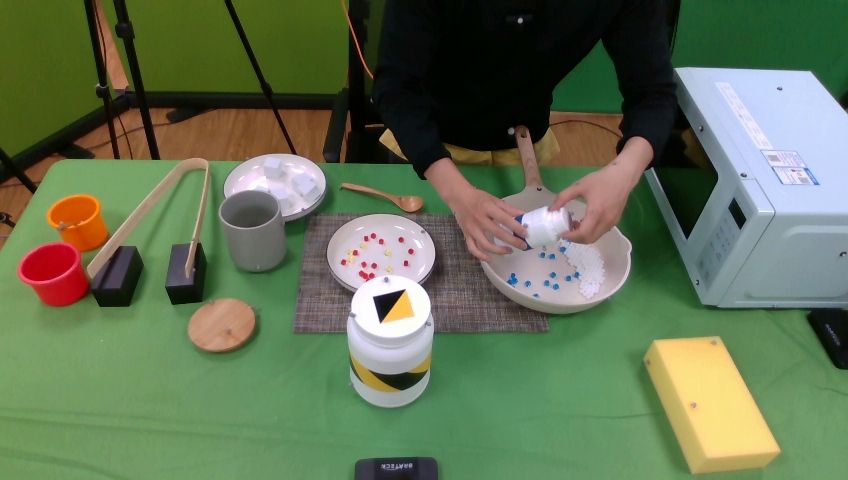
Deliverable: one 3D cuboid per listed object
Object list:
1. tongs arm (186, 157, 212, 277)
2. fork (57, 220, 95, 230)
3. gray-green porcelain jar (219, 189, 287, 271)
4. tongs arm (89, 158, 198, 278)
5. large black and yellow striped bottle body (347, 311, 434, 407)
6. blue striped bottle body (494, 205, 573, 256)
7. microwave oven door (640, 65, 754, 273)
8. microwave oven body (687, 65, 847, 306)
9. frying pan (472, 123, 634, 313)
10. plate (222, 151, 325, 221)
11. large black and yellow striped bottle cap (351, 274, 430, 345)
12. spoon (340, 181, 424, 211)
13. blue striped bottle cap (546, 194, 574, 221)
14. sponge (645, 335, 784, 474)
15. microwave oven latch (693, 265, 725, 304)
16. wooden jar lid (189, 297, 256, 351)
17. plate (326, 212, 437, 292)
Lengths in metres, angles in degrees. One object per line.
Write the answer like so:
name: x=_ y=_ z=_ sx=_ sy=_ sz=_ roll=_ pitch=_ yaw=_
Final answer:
tongs arm: x=-0.445 y=-0.058 z=1.169 sx=0.051 sy=0.026 sz=0.382 roll=-5 pitch=37 yaw=-6
fork: x=-0.624 y=-0.027 z=1.087 sx=0.028 sy=0.207 sz=0.018 roll=-3 pitch=92 yaw=-17
gray-green porcelain jar: x=-0.310 y=-0.014 z=1.113 sx=0.106 sy=0.127 sz=0.105 roll=2 pitch=46 yaw=-2
tongs arm: x=-0.529 y=-0.058 z=1.164 sx=0.028 sy=0.028 sz=0.385 roll=1 pitch=36 yaw=8
large black and yellow striped bottle body: x=-0.052 y=0.157 z=0.929 sx=0.131 sy=0.185 sz=0.130 roll=2 pitch=47 yaw=-2
blue striped bottle body: x=0.181 y=-0.018 z=0.995 sx=0.120 sy=0.063 sz=0.063 roll=-18 pitch=37 yaw=32
microwave oven door: x=0.523 y=-0.147 z=1.193 sx=0.039 sy=0.245 sz=0.353 roll=0 pitch=47 yaw=-3
microwave oven body: x=0.669 y=-0.111 z=1.176 sx=0.326 sy=0.261 sz=0.439 roll=0 pitch=46 yaw=-3
frying pan: x=0.236 y=-0.060 z=1.207 sx=0.307 sy=0.103 sz=0.484 roll=2 pitch=55 yaw=-6
plate: x=-0.310 y=-0.106 z=1.263 sx=0.208 sy=0.039 sz=0.206 roll=2 pitch=47 yaw=-2
large black and yellow striped bottle cap: x=-0.048 y=0.097 z=0.867 sx=0.115 sy=0.019 sz=0.114 roll=3 pitch=48 yaw=-3
spoon: x=-0.090 y=-0.100 z=1.282 sx=0.193 sy=0.022 sz=0.041 roll=18 pitch=66 yaw=13
blue striped bottle cap: x=0.219 y=-0.051 z=0.976 sx=0.045 sy=0.020 sz=0.044 roll=4 pitch=79 yaw=-22
sponge: x=0.449 y=0.253 z=0.956 sx=0.118 sy=0.061 sz=0.205 roll=-4 pitch=46 yaw=-7
microwave oven latch: x=0.523 y=0.081 z=1.116 sx=0.030 sy=0.029 sz=0.078 roll=2 pitch=46 yaw=-1
wooden jar lid: x=-0.342 y=0.145 z=1.033 sx=0.108 sy=0.021 sz=0.107 roll=2 pitch=45 yaw=-2
plate: x=-0.080 y=0.030 z=1.143 sx=0.209 sy=0.038 sz=0.208 roll=2 pitch=46 yaw=-2
